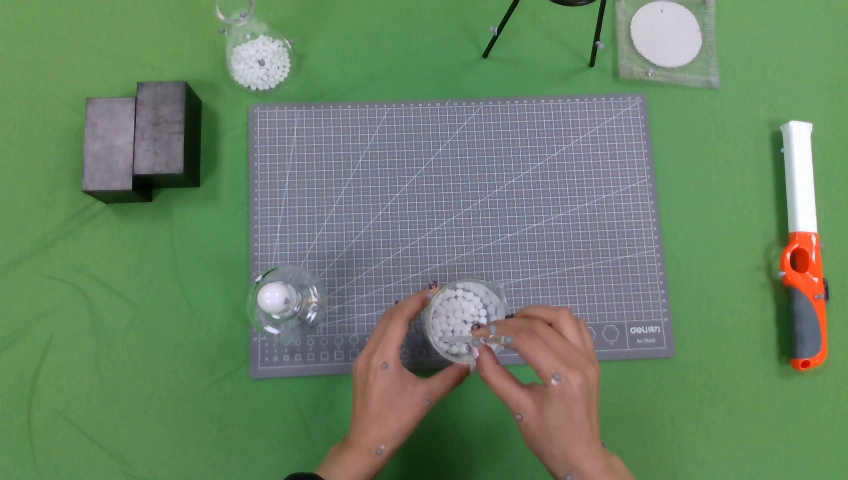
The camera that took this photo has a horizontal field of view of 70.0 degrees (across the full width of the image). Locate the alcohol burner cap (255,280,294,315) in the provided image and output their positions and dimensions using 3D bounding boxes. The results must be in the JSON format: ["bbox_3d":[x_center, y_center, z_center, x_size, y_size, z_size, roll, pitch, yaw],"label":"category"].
[{"bbox_3d":[-0.137,0.052,0.551,0.034,0.048,0.034,1,83,-6],"label":"alcohol burner cap"}]

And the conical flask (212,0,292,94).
[{"bbox_3d":[-0.183,-0.209,0.628,0.075,0.122,0.075,0,79,-2],"label":"conical flask"}]

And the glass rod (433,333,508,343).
[{"bbox_3d":[0.033,0.081,0.507,0.008,0.199,0.008,2,81,-12],"label":"glass rod"}]

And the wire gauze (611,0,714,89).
[{"bbox_3d":[0.282,-0.241,0.714,0.125,0.011,0.121,4,81,-4],"label":"wire gauze"}]

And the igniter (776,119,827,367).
[{"bbox_3d":[0.414,0.000,0.669,0.057,0.025,0.275,5,80,-13],"label":"igniter"}]

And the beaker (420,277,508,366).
[{"bbox_3d":[0.035,0.073,0.569,0.074,0.100,0.084,41,81,1],"label":"beaker"}]

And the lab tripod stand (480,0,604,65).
[{"bbox_3d":[0.134,-0.254,0.645,0.148,0.132,0.148,0,82,-2],"label":"lab tripod stand"}]

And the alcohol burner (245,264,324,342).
[{"bbox_3d":[-0.139,0.059,0.586,0.078,0.119,0.077,0,79,0],"label":"alcohol burner"}]
